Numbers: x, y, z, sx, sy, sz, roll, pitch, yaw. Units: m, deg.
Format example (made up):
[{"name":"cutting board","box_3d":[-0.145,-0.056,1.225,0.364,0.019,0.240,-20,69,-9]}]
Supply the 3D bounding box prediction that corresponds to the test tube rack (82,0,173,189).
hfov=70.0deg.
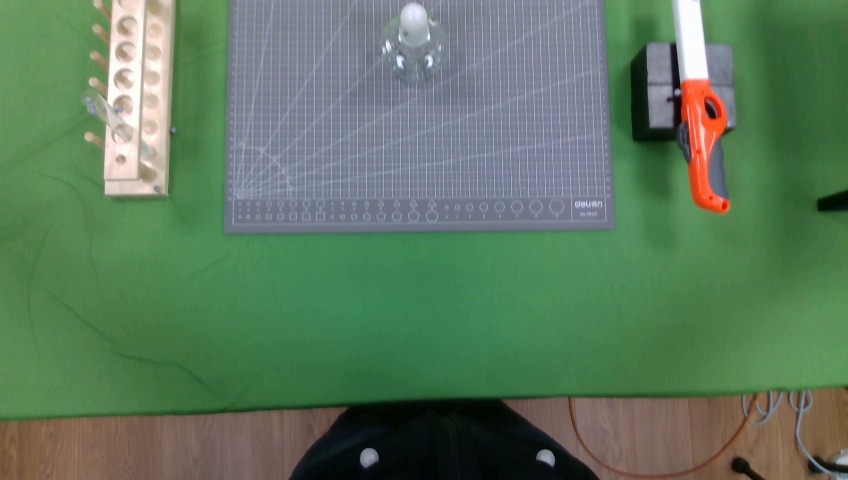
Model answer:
[{"name":"test tube rack","box_3d":[-0.326,-0.182,0.660,0.067,0.085,0.241,-1,84,-2]}]

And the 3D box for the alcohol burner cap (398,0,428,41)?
[{"name":"alcohol burner cap","box_3d":[-0.013,-0.232,0.627,0.034,0.048,0.034,0,84,0]}]

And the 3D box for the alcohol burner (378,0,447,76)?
[{"name":"alcohol burner","box_3d":[-0.013,-0.228,0.663,0.078,0.119,0.077,0,84,0]}]

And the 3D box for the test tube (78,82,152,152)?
[{"name":"test tube","box_3d":[-0.303,-0.119,0.605,0.017,0.150,0.017,1,79,-5]}]

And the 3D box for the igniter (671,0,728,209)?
[{"name":"igniter","box_3d":[0.300,-0.169,0.669,0.057,0.025,0.275,-2,81,-6]}]
